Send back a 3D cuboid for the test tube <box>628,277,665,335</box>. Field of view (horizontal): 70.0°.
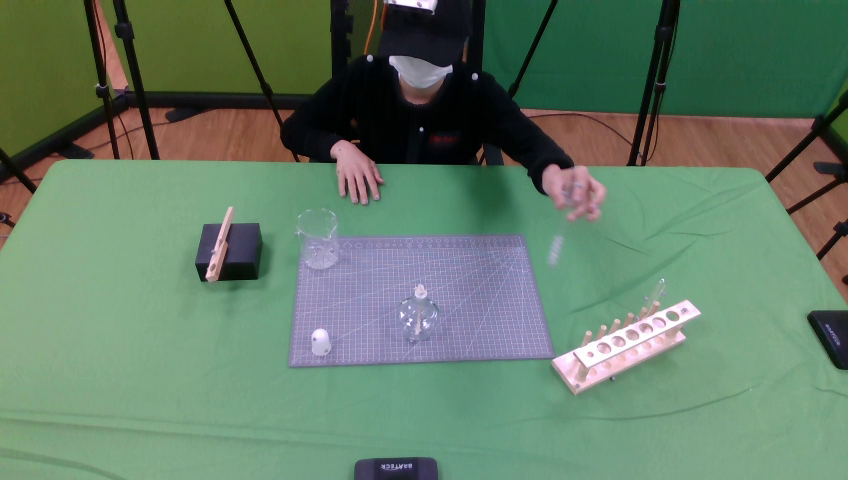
[{"bbox_3d":[0.371,0.112,1.014,0.017,0.151,0.017,3,47,-3],"label":"test tube"}]

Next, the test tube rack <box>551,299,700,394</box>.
[{"bbox_3d":[0.339,0.166,1.021,0.242,0.085,0.066,-19,50,-21],"label":"test tube rack"}]

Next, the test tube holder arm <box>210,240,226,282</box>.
[{"bbox_3d":[-0.362,0.036,1.069,0.010,0.015,0.087,-4,47,0],"label":"test tube holder arm"}]

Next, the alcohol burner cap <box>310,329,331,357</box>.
[{"bbox_3d":[-0.173,0.168,1.005,0.034,0.048,0.033,2,46,-2],"label":"alcohol burner cap"}]

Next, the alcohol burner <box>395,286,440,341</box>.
[{"bbox_3d":[-0.010,0.116,1.018,0.078,0.119,0.077,3,47,-3],"label":"alcohol burner"}]

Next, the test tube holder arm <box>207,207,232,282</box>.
[{"bbox_3d":[-0.370,0.004,1.100,0.013,0.015,0.177,-5,47,0],"label":"test tube holder arm"}]

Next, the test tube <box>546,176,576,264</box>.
[{"bbox_3d":[0.207,-0.027,0.920,0.017,0.151,0.017,5,32,-3],"label":"test tube"}]

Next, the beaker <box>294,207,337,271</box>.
[{"bbox_3d":[-0.196,0.003,1.123,0.074,0.101,0.083,-23,53,-24],"label":"beaker"}]
